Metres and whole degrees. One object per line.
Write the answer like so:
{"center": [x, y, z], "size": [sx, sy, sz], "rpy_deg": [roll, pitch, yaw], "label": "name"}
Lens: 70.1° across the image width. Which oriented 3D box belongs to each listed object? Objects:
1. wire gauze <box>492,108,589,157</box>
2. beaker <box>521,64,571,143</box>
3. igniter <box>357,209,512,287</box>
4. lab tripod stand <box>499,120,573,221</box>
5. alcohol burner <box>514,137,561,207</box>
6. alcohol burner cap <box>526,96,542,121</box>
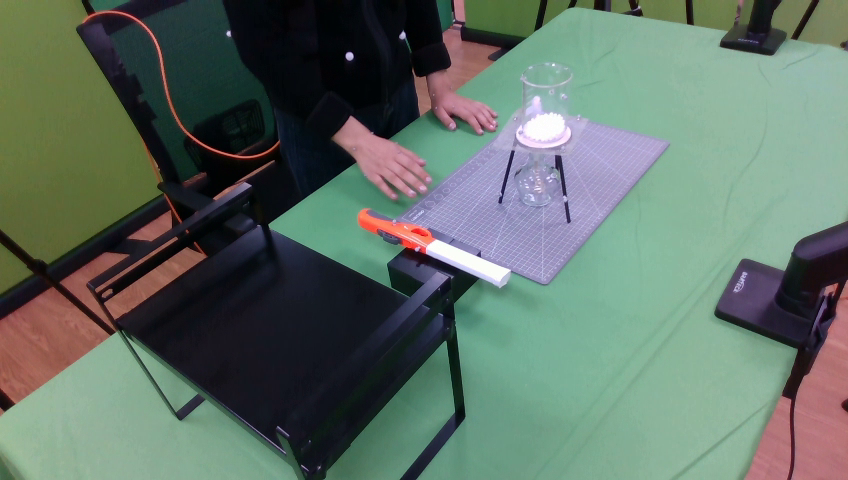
{"center": [0.185, -0.169, 0.954], "size": [0.121, 0.011, 0.125], "rpy_deg": [12, 46, 22], "label": "wire gauze"}
{"center": [0.187, -0.208, 0.924], "size": [0.073, 0.101, 0.084], "rpy_deg": [23, 49, 30], "label": "beaker"}
{"center": [0.004, 0.006, 0.891], "size": [0.274, 0.025, 0.057], "rpy_deg": [23, 38, 30], "label": "igniter"}
{"center": [0.198, -0.116, 0.992], "size": [0.148, 0.132, 0.147], "rpy_deg": [-3, 41, 3], "label": "lab tripod stand"}
{"center": [0.189, -0.116, 1.008], "size": [0.078, 0.119, 0.077], "rpy_deg": [-6, 39, 5], "label": "alcohol burner"}
{"center": [0.225, -0.272, 1.243], "size": [0.034, 0.048, 0.033], "rpy_deg": [-5, 41, 5], "label": "alcohol burner cap"}
